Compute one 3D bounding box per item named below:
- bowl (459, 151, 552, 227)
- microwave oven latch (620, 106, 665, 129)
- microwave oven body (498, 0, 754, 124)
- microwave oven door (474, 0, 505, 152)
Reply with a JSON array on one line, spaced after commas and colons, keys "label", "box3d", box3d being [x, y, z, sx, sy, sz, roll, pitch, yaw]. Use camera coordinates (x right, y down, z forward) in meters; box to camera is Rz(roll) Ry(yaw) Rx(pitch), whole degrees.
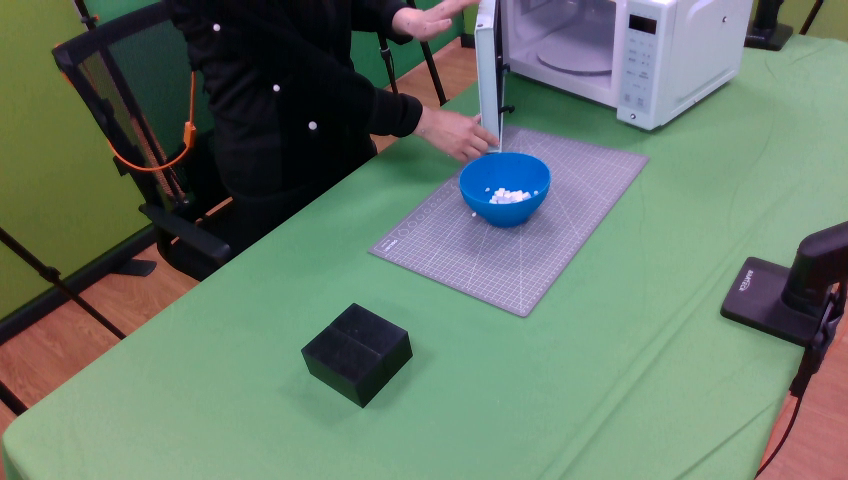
[{"label": "bowl", "box3d": [0.136, -0.074, 1.000, 0.151, 0.077, 0.150, -5, 40, 5]}, {"label": "microwave oven latch", "box3d": [0.412, -0.237, 1.146, 0.030, 0.029, 0.078, -32, 44, -23]}, {"label": "microwave oven body", "box3d": [0.402, -0.458, 1.259, 0.327, 0.261, 0.437, -33, 45, -24]}, {"label": "microwave oven door", "box3d": [0.134, -0.373, 1.203, 0.039, 0.245, 0.354, -1, 41, 10]}]
